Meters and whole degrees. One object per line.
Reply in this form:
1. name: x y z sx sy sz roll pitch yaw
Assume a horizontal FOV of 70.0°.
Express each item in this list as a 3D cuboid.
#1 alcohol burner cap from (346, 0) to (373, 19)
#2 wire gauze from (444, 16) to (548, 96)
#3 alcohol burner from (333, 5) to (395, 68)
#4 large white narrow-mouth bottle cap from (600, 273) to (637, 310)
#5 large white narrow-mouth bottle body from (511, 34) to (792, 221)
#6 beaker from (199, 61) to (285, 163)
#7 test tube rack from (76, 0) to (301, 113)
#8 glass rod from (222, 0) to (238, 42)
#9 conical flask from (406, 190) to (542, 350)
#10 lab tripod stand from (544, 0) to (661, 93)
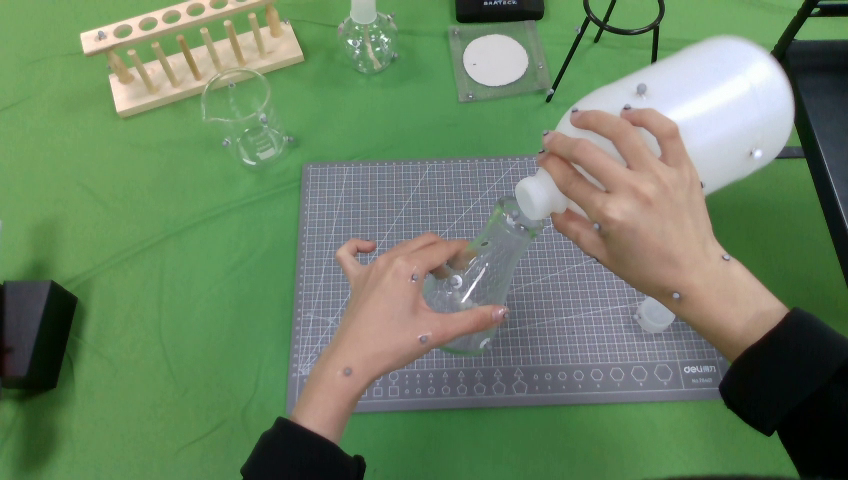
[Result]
1. alcohol burner cap: -0.077 -0.292 0.721 0.034 0.048 0.033 4 63 -7
2. wire gauze: 0.093 -0.247 0.796 0.121 0.011 0.124 -6 65 -3
3. alcohol burner: -0.076 -0.274 0.753 0.078 0.120 0.077 0 63 0
4. large white narrow-mouth bottle cap: 0.208 0.056 0.647 0.038 0.024 0.037 -1 64 3
5. large white narrow-mouth bottle body: 0.153 -0.070 0.436 0.195 0.102 0.101 -25 66 -11
6. beaker: -0.208 -0.141 0.701 0.084 0.101 0.073 -42 70 -16
7. test tube rack: -0.287 -0.247 0.758 0.242 0.086 0.066 -21 66 -9
8. glass rod: -0.241 -0.309 0.713 0.008 0.201 0.008 2 63 -3
9. conical flask: 0.041 0.020 0.453 0.076 0.122 0.074 20 36 -15
10. lab tripod stand: 0.221 -0.240 0.722 0.148 0.132 0.147 1 64 -1
